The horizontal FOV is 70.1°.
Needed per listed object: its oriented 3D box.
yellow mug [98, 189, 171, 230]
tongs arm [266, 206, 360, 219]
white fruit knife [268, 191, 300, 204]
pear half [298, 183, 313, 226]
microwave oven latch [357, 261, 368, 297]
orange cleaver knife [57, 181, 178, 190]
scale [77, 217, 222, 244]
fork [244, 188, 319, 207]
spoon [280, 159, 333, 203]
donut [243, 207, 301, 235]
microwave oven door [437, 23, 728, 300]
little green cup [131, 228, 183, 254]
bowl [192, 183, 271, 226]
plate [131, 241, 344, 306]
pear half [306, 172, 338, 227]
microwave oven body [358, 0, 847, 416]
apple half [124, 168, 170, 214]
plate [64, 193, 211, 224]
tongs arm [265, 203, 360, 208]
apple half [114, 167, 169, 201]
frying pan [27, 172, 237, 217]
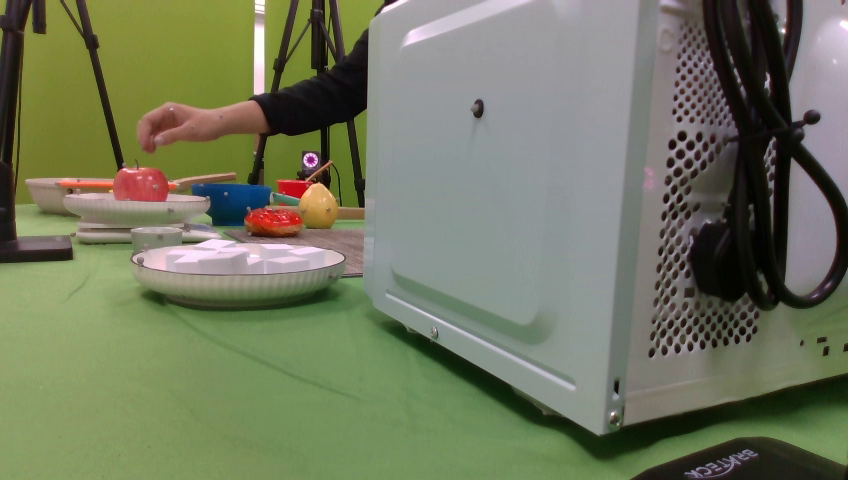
[{"bbox_3d":[-0.519,-0.055,1.080,0.099,0.064,0.131,7,9,26],"label":"yellow mug"},{"bbox_3d":[-0.174,-0.060,1.363,0.387,0.026,0.050,0,4,-32],"label":"tongs arm"},{"bbox_3d":[-0.364,-0.105,1.464,0.208,0.027,0.016,15,0,-34],"label":"white fruit knife"},{"bbox_3d":[-0.235,-0.071,1.207,0.031,0.088,0.070,3,10,0],"label":"pear half"},{"bbox_3d":[-0.019,0.033,0.530,0.079,0.029,0.030,-1,7,-26],"label":"microwave oven latch"},{"bbox_3d":[-0.600,-0.109,1.189,0.212,0.012,0.077,-1,11,-26],"label":"orange cleaver knife"},{"bbox_3d":[-0.434,-0.018,0.963,0.202,0.031,0.148,-1,8,-27],"label":"scale"},{"bbox_3d":[-0.356,-0.105,1.526,0.208,0.018,0.028,16,-5,-41],"label":"fork"},{"bbox_3d":[-0.317,-0.159,1.640,0.194,0.022,0.041,-49,32,-20],"label":"spoon"},{"bbox_3d":[-0.262,-0.032,1.043,0.099,0.048,0.099,5,9,0],"label":"donut"},{"bbox_3d":[0.181,-0.073,0.621,0.358,0.243,0.039,-2,8,-29],"label":"microwave oven door"},{"bbox_3d":[-0.342,0.006,0.779,0.061,0.038,0.061,2,8,0],"label":"little green cup"},{"bbox_3d":[-0.382,-0.070,1.202,0.151,0.077,0.151,3,7,0],"label":"bowl"},{"bbox_3d":[-0.187,0.033,0.625,0.208,0.039,0.207,2,8,0],"label":"plate"},{"bbox_3d":[-0.200,-0.079,1.203,0.056,0.110,0.076,3,11,1],"label":"pear half"},{"bbox_3d":[0.211,-0.047,0.474,0.444,0.260,0.324,-1,7,-28],"label":"microwave oven body"},{"bbox_3d":[-0.440,-0.080,0.976,0.081,0.081,0.033,3,10,7],"label":"apple half"},{"bbox_3d":[-0.446,-0.051,0.951,0.209,0.038,0.209,2,7,0],"label":"plate"},{"bbox_3d":[-0.212,-0.069,1.440,0.389,0.027,0.028,2,0,-17],"label":"tongs arm"},{"bbox_3d":[-0.445,-0.075,0.937,0.081,0.074,0.053,6,11,9],"label":"apple half"},{"bbox_3d":[-0.624,-0.118,1.387,0.305,0.102,0.490,8,17,32],"label":"frying pan"}]
